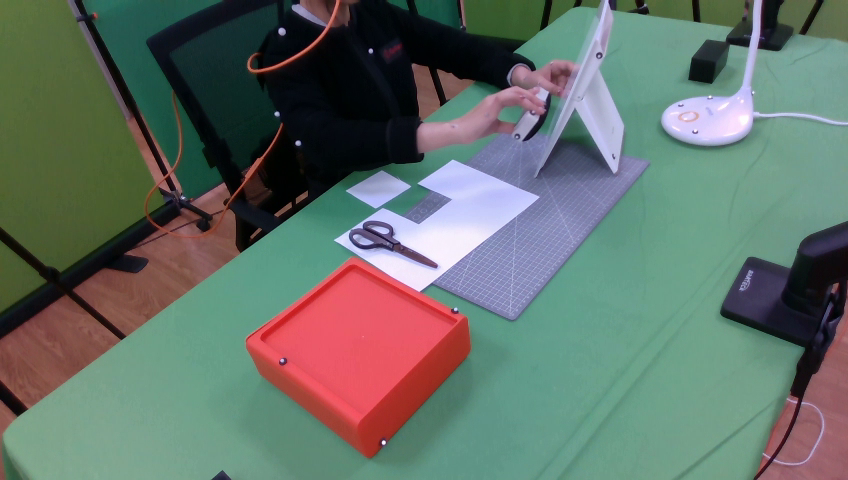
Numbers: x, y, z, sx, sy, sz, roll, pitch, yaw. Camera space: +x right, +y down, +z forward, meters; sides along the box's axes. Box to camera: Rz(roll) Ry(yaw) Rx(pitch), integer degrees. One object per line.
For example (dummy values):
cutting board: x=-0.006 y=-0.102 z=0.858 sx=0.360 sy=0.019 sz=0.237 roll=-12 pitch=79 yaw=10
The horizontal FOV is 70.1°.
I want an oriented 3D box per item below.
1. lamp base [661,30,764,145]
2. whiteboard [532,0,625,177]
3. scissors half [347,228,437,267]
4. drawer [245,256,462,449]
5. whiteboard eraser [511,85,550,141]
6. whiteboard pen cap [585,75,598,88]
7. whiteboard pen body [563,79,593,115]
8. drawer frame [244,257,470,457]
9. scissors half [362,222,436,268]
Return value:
lamp base: x=0.535 y=-0.287 z=1.096 sx=0.179 sy=0.181 sz=0.159 roll=-10 pitch=40 yaw=-4
whiteboard: x=0.320 y=-0.258 z=1.050 sx=0.144 sy=0.306 sz=0.217 roll=21 pitch=45 yaw=5
scissors half: x=-0.054 y=0.015 z=0.974 sx=0.174 sy=0.013 sz=0.040 roll=19 pitch=35 yaw=24
drawer: x=-0.089 y=0.136 z=0.792 sx=0.210 sy=0.073 sz=0.195 roll=27 pitch=51 yaw=34
whiteboard eraser: x=0.188 y=-0.220 z=1.054 sx=0.042 sy=0.055 sz=0.112 roll=35 pitch=44 yaw=-8
whiteboard pen cap: x=0.362 y=-0.343 z=1.310 sx=0.018 sy=0.018 sz=0.033 roll=19 pitch=54 yaw=29
whiteboard pen body: x=0.328 y=-0.306 z=1.278 sx=0.017 sy=0.017 sz=0.141 roll=20 pitch=51 yaw=30
drawer frame: x=-0.084 y=0.138 z=0.788 sx=0.212 sy=0.083 sz=0.202 roll=25 pitch=50 yaw=33
scissors half: x=-0.040 y=0.008 z=0.988 sx=0.040 sy=0.013 sz=0.173 roll=-17 pitch=36 yaw=-38
